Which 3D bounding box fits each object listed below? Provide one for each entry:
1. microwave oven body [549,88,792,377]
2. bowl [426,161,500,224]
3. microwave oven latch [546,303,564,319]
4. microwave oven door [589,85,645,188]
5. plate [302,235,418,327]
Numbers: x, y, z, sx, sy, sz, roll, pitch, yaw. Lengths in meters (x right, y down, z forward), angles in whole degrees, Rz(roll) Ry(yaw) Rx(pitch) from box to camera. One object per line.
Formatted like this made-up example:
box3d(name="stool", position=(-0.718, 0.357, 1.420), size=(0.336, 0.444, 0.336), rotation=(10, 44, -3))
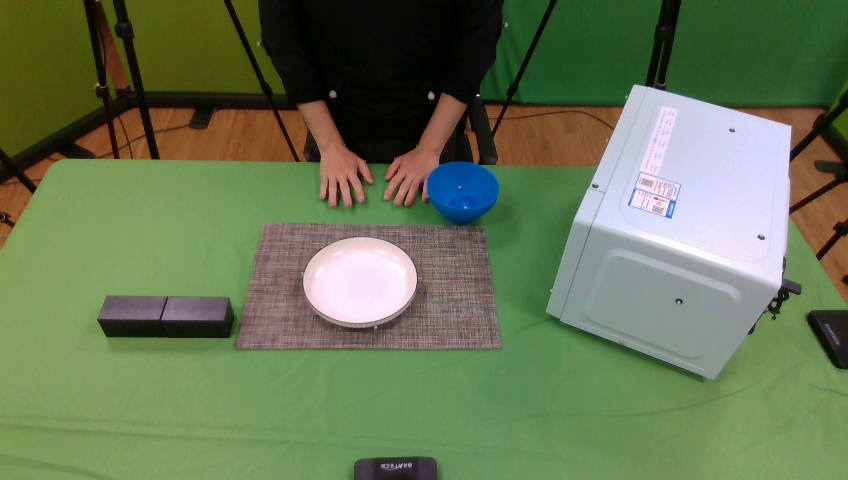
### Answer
box3d(name="microwave oven body", position=(0.456, -0.028, 1.088), size=(0.325, 0.261, 0.440), rotation=(20, 47, 16))
box3d(name="bowl", position=(0.077, -0.086, 1.248), size=(0.151, 0.077, 0.150), rotation=(2, 46, -2))
box3d(name="microwave oven latch", position=(0.242, 0.102, 1.081), size=(0.030, 0.029, 0.079), rotation=(21, 48, 17))
box3d(name="microwave oven door", position=(0.342, -0.107, 1.149), size=(0.039, 0.245, 0.354), rotation=(20, 48, 15))
box3d(name="plate", position=(-0.114, 0.077, 1.098), size=(0.208, 0.039, 0.206), rotation=(2, 46, -2))
